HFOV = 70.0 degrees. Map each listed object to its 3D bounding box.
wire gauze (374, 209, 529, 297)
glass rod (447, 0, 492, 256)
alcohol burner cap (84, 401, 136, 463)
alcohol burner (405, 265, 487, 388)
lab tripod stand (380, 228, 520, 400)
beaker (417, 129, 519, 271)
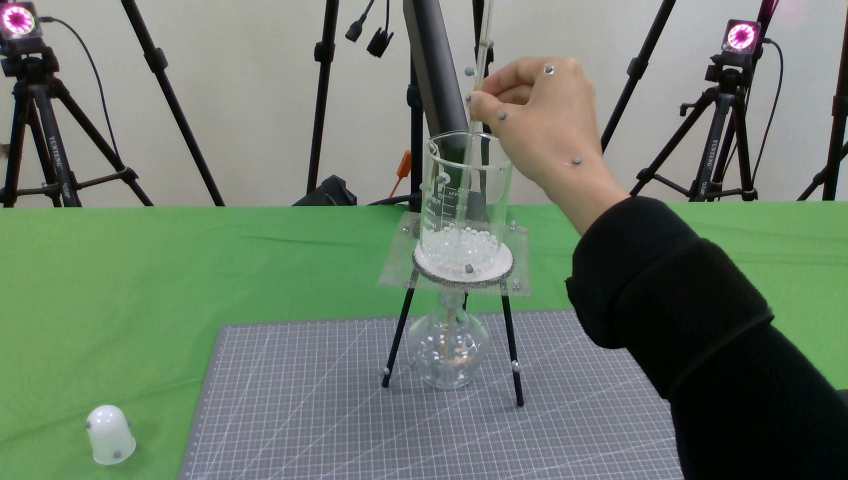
[{"bbox_3d":[0.029,0.010,0.522,0.121,0.011,0.124,6,33,5],"label":"wire gauze"},{"bbox_3d":[0.032,-0.075,0.453,0.008,0.201,0.008,6,28,-3],"label":"glass rod"},{"bbox_3d":[-0.253,0.151,0.485,0.034,0.048,0.033,1,31,0],"label":"alcohol burner cap"},{"bbox_3d":[0.021,0.076,0.559,0.078,0.120,0.077,1,29,0],"label":"alcohol burner"},{"bbox_3d":[0.033,0.067,0.555,0.148,0.132,0.147,4,30,-2],"label":"lab tripod stand"},{"bbox_3d":[0.030,-0.032,0.498,0.083,0.101,0.074,28,38,34],"label":"beaker"}]
